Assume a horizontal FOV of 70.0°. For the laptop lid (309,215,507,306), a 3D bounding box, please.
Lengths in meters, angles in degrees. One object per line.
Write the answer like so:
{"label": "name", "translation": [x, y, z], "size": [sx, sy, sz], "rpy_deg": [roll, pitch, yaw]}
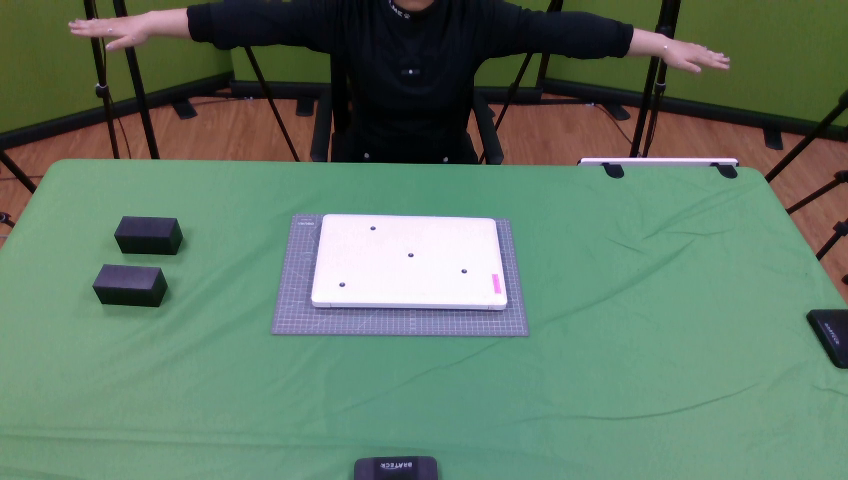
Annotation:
{"label": "laptop lid", "translation": [-0.028, 0.033, 1.149], "size": [0.357, 0.013, 0.240], "rpy_deg": [3, 44, -2]}

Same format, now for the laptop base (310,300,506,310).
{"label": "laptop base", "translation": [-0.029, 0.042, 1.156], "size": [0.354, 0.023, 0.234], "rpy_deg": [1, 42, -3]}
